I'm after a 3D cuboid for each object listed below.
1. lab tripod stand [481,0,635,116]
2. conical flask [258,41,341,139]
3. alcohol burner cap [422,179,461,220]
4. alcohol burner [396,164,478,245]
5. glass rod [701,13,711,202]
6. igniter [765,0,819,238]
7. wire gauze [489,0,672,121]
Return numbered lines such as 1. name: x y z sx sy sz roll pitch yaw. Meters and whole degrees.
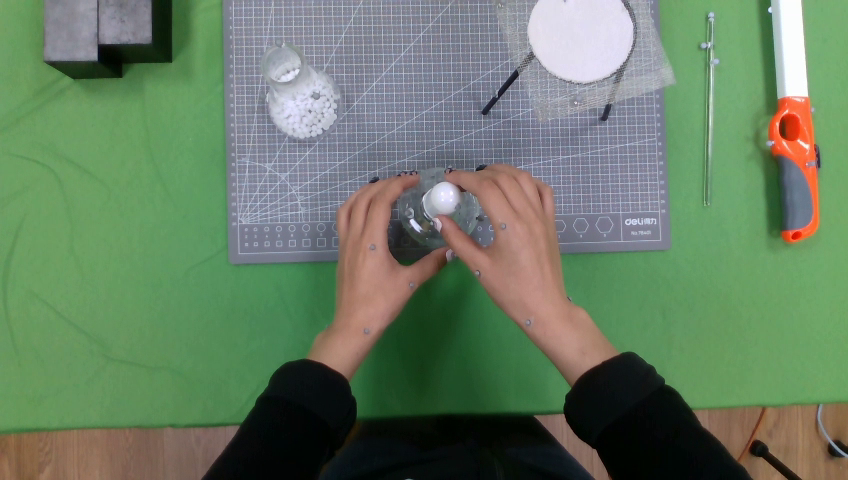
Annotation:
1. lab tripod stand: 0.125 -0.170 0.563 0.148 0.131 0.148 0 89 -2
2. conical flask: -0.119 -0.141 0.557 0.075 0.122 0.075 0 87 -2
3. alcohol burner cap: 0.017 -0.038 0.527 0.034 0.048 0.034 1 83 -9
4. alcohol burner: 0.013 -0.035 0.563 0.078 0.119 0.078 0 87 -3
5. glass rod: 0.295 -0.139 0.634 0.008 0.008 0.199 2 87 -2
6. igniter: 0.379 -0.140 0.628 0.057 0.025 0.276 -2 88 -13
7. wire gauze: 0.128 -0.170 0.496 0.125 0.011 0.121 -18 89 -3
